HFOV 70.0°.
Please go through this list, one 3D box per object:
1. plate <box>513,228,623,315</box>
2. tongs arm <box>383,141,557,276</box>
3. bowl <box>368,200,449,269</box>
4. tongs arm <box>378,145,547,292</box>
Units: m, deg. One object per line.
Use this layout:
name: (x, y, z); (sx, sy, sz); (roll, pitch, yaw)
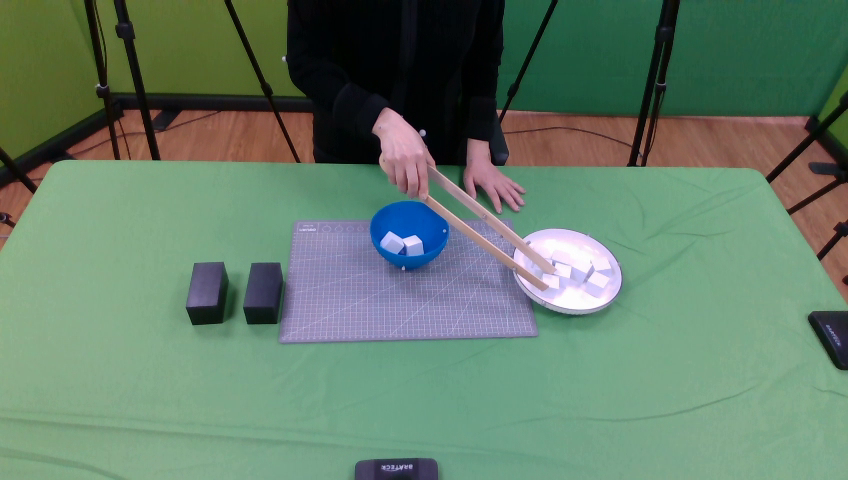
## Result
plate: (0.268, 0.063, 1.146); (0.208, 0.039, 0.206); (3, 46, -3)
tongs arm: (0.081, -0.053, 1.101); (0.384, 0.026, 0.050); (41, 55, 2)
bowl: (-0.030, 0.002, 1.151); (0.151, 0.077, 0.150); (2, 46, -2)
tongs arm: (0.066, -0.035, 1.084); (0.387, 0.028, 0.028); (39, 58, 0)
